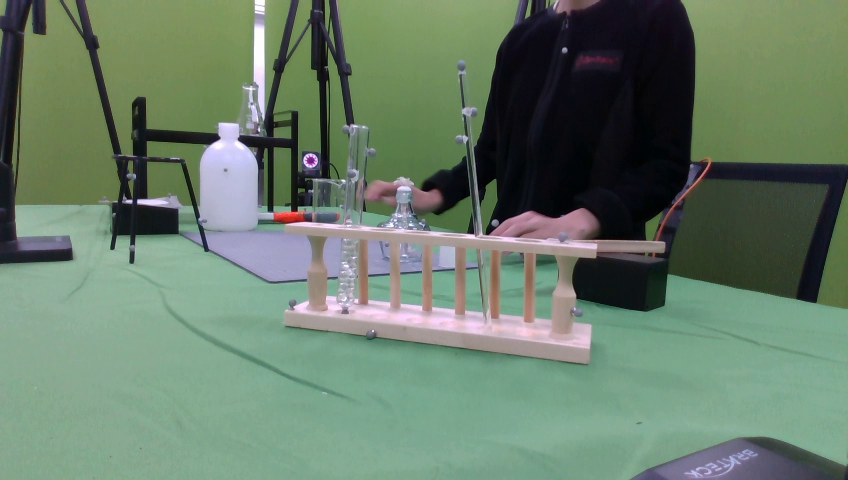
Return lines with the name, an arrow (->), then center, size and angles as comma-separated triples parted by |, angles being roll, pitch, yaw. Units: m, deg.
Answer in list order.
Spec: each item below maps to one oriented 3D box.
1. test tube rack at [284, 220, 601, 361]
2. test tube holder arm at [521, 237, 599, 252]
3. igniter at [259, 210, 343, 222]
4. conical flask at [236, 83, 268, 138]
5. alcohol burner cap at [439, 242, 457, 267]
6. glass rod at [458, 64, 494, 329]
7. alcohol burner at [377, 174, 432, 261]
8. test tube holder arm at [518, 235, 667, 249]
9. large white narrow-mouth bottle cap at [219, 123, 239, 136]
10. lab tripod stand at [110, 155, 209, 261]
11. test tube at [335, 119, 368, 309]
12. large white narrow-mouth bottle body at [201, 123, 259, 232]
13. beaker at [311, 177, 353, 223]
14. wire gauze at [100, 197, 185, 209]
test tube rack -> 0.013, 0.032, 0.482 | 0.242, 0.085, 0.067 | 4, 7, 16
test tube holder arm -> 0.144, 0.004, 0.635 | 0.088, 0.015, 0.010 | 0, 14, -19
igniter -> -0.304, -0.049, 1.258 | 0.278, 0.025, 0.057 | -2, -5, -28
conical flask -> -0.400, -0.298, 1.396 | 0.075, 0.122, 0.075 | 2, 8, 0
alcohol burner cap -> 0.038, 0.011, 0.807 | 0.034, 0.048, 0.034 | 3, 8, 0
glass rod -> 0.039, -0.029, 0.449 | 0.008, 0.199, 0.008 | -7, 9, 1
alcohol burner -> -0.027, -0.031, 0.838 | 0.078, 0.119, 0.078 | 0, 6, 0
test tube holder arm -> 0.186, 0.003, 0.655 | 0.179, 0.015, 0.013 | 0, 14, -18
large white narrow-mouth bottle cap -> -0.356, -0.201, 1.104 | 0.038, 0.024, 0.037 | 2, 8, 0
lab tripod stand -> -0.361, -0.046, 0.806 | 0.148, 0.131, 0.148 | 2, 5, 0
test tube -> -0.057, -0.019, 0.477 | 0.017, 0.150, 0.017 | 5, 9, -1
large white narrow-mouth bottle body -> -0.358, -0.116, 1.116 | 0.102, 0.194, 0.102 | 2, 8, 0
beaker -> -0.167, -0.064, 1.106 | 0.074, 0.100, 0.083 | -2, 9, -26
wire gauze -> -0.469, -0.062, 1.008 | 0.126, 0.011, 0.121 | -2, 8, -25
